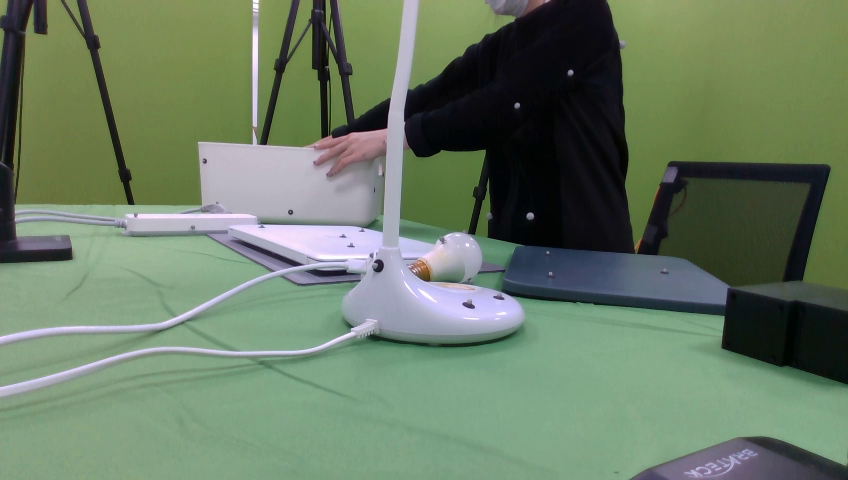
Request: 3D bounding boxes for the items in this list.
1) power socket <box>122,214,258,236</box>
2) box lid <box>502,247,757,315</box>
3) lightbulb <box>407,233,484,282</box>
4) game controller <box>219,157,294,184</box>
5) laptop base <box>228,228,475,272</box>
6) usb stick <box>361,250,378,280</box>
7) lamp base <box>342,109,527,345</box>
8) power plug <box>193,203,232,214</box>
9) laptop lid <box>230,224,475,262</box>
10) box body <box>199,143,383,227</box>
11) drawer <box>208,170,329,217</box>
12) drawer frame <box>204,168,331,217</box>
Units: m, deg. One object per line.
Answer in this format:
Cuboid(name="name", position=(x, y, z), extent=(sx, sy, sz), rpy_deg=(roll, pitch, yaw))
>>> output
Cuboid(name="power socket", position=(-0.398, -0.028, 1.049), extent=(0.228, 0.032, 0.072), rpy_deg=(-3, 8, -34))
Cuboid(name="box lid", position=(0.244, 0.044, 0.793), extent=(0.263, 0.015, 0.372), rpy_deg=(4, 7, 10))
Cuboid(name="lightbulb", position=(0.020, 0.028, 0.694), extent=(0.108, 0.059, 0.059), rpy_deg=(-20, 18, -31))
Cuboid(name="game controller", position=(-0.368, -0.153, 1.322), extent=(0.156, 0.051, 0.097), rpy_deg=(-6, 7, -17))
Cuboid(name="laptop base", position=(-0.122, 0.011, 0.889), extent=(0.237, 0.023, 0.352), rpy_deg=(1, 6, -35))
Cuboid(name="usb stick", position=(-0.052, 0.033, 0.656), extent=(0.027, 0.021, 0.059), rpy_deg=(4, -27, -20))
Cuboid(name="lamp base", position=(0.006, -0.015, 0.505), extent=(0.160, 0.180, 0.180), rpy_deg=(6, 11, 29))
Cuboid(name="power plug", position=(-0.394, -0.042, 1.139), extent=(0.072, 0.052, 0.035), rpy_deg=(-13, 2, 31))
Cuboid(name="laptop lid", position=(-0.120, 0.000, 0.889), extent=(0.243, 0.013, 0.355), rpy_deg=(1, 7, -33))
Cuboid(name="box body", position=(-0.276, -0.124, 1.334), extent=(0.364, 0.160, 0.254), rpy_deg=(3, 7, 1))
Cuboid(name="drawer", position=(-0.333, -0.103, 1.331), extent=(0.212, 0.073, 0.194), rpy_deg=(-5, 12, 6))
Cuboid(name="drawer frame", position=(-0.334, -0.108, 1.331), extent=(0.213, 0.082, 0.201), rpy_deg=(-4, 9, 6))
